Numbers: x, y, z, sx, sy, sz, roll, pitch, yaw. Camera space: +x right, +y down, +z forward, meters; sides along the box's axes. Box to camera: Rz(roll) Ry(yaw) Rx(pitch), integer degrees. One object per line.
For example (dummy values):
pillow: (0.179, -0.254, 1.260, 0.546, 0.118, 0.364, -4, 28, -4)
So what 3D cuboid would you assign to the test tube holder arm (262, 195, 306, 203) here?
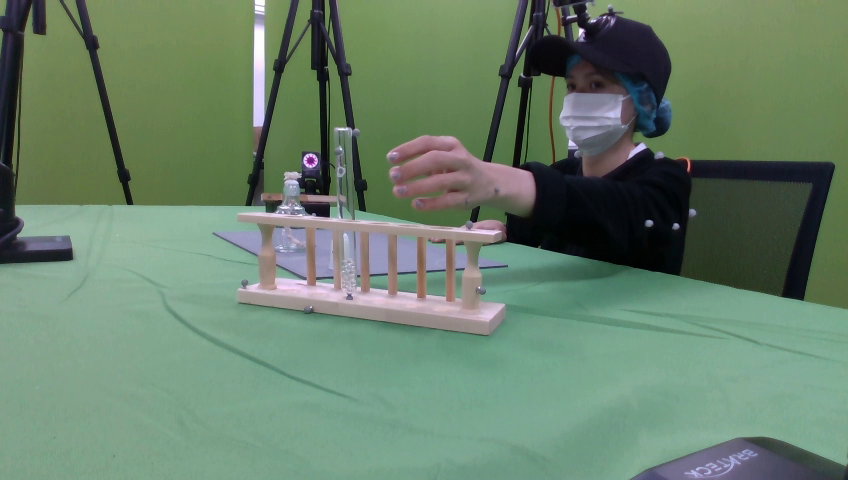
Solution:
test tube holder arm: (-0.278, -0.082, 1.204, 0.088, 0.015, 0.010, -1, 10, -30)

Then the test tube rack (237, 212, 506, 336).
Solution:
test tube rack: (-0.049, 0.024, 0.552, 0.242, 0.085, 0.067, 5, 8, 19)

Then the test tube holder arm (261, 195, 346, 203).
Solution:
test tube holder arm: (-0.242, -0.084, 1.232, 0.179, 0.015, 0.013, -1, 10, -33)

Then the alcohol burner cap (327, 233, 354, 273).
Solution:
alcohol burner cap: (-0.104, 0.016, 0.751, 0.034, 0.048, 0.034, 3, 6, 0)

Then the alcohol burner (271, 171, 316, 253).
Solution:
alcohol burner: (-0.196, -0.041, 0.884, 0.078, 0.119, 0.078, 3, 5, 0)

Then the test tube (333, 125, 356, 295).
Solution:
test tube: (-0.070, -0.025, 0.533, 0.017, 0.150, 0.017, -1, 11, 0)
